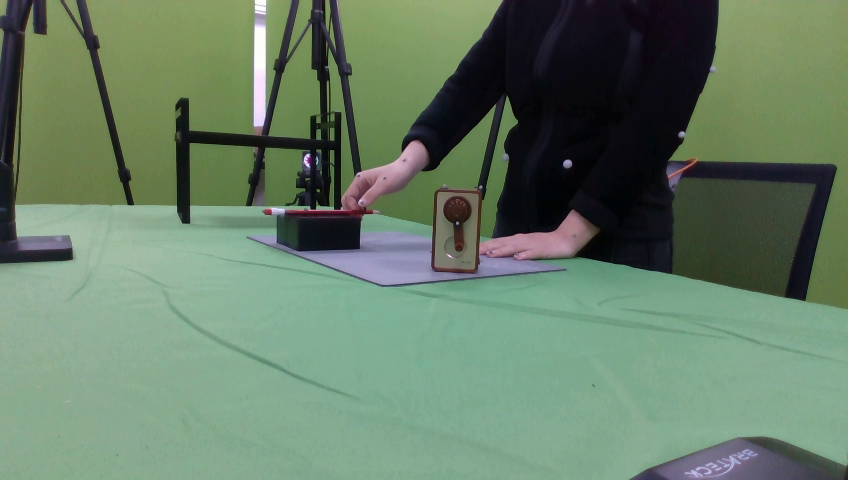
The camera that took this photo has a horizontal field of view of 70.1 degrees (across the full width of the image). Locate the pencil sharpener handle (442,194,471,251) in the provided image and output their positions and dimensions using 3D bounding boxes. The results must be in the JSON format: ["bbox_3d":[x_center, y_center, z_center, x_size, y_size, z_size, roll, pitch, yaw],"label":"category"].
[{"bbox_3d":[0.041,-0.021,0.731,0.036,0.067,0.030,-5,7,5],"label":"pencil sharpener handle"}]

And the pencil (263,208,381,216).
[{"bbox_3d":[-0.153,-0.044,0.941,0.195,0.012,0.012,-2,9,-32],"label":"pencil"}]

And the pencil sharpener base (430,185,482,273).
[{"bbox_3d":[0.042,-0.015,0.784,0.061,0.107,0.076,3,8,4],"label":"pencil sharpener base"}]
